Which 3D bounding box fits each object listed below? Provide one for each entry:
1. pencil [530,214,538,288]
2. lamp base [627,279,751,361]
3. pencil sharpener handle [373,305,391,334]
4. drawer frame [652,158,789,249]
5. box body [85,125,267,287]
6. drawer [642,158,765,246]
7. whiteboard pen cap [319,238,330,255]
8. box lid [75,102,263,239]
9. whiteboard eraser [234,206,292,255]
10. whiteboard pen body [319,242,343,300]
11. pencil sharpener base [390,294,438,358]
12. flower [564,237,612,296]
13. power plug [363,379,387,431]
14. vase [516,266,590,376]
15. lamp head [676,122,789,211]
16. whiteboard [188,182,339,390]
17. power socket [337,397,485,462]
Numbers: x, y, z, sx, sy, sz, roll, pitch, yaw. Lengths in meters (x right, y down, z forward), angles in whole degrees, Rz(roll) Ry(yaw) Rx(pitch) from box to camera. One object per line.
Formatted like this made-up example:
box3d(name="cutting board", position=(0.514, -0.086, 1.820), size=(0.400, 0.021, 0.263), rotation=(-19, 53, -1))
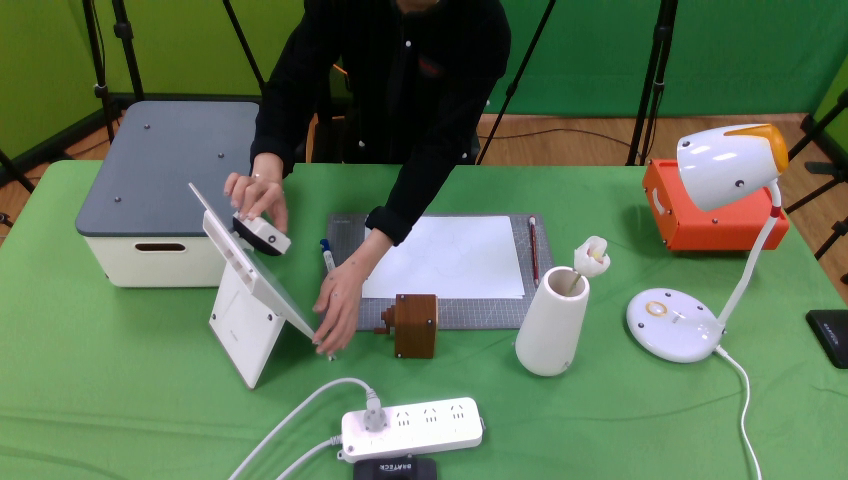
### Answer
box3d(name="pencil", position=(0.218, 0.019, 1.202), size=(0.012, 0.012, 0.193), rotation=(6, 48, 1))
box3d(name="lamp base", position=(0.459, 0.100, 1.027), size=(0.178, 0.181, 0.160), rotation=(27, 51, 17))
box3d(name="pencil sharpener handle", position=(-0.069, 0.133, 0.989), size=(0.030, 0.068, 0.036), rotation=(1, 47, -2))
box3d(name="drawer frame", position=(0.571, -0.075, 1.214), size=(0.214, 0.083, 0.200), rotation=(0, 46, -1))
box3d(name="box body", position=(-0.446, -0.088, 1.150), size=(0.254, 0.161, 0.361), rotation=(-1, 46, -5))
box3d(name="drawer", position=(0.566, -0.076, 1.211), size=(0.212, 0.073, 0.193), rotation=(2, 45, -2))
box3d(name="whiteboard pen cap", position=(-0.190, 0.013, 1.163), size=(0.018, 0.018, 0.033), rotation=(-13, 49, -16))
box3d(name="box lid", position=(-0.443, -0.138, 1.094), size=(0.263, 0.015, 0.369), rotation=(-1, 47, -5))
box3d(name="whiteboard eraser", position=(-0.237, -0.012, 0.877), size=(0.042, 0.056, 0.112), rotation=(-57, 35, -5))
box3d(name="whiteboard pen body", position=(-0.175, 0.055, 1.125), size=(0.017, 0.017, 0.140), rotation=(-14, 52, -17))
box3d(name="pencil sharpener base", position=(-0.018, 0.143, 1.000), size=(0.077, 0.107, 0.061), rotation=(1, 47, -2))
box3d(name="flower", position=(0.206, 0.088, 0.893), size=(0.038, 0.363, 0.044), rotation=(-17, 67, -9))
box3d(name="power plug", position=(-0.072, 0.252, 0.910), size=(0.035, 0.053, 0.072), rotation=(3, 45, -1))
box3d(name="vase", position=(0.208, 0.132, 0.964), size=(0.098, 0.201, 0.097), rotation=(3, 46, -3))
box3d(name="lamp head", position=(0.423, -0.104, 0.819), size=(0.122, 0.113, 0.112), rotation=(-13, 33, 40))
box3d(name="whiteboard", position=(-0.292, 0.096, 0.929), size=(0.144, 0.307, 0.216), rotation=(-38, 57, -10))
box3d(name="power socket", position=(-0.018, 0.285, 0.915), size=(0.227, 0.033, 0.071), rotation=(-5, 46, -8))
